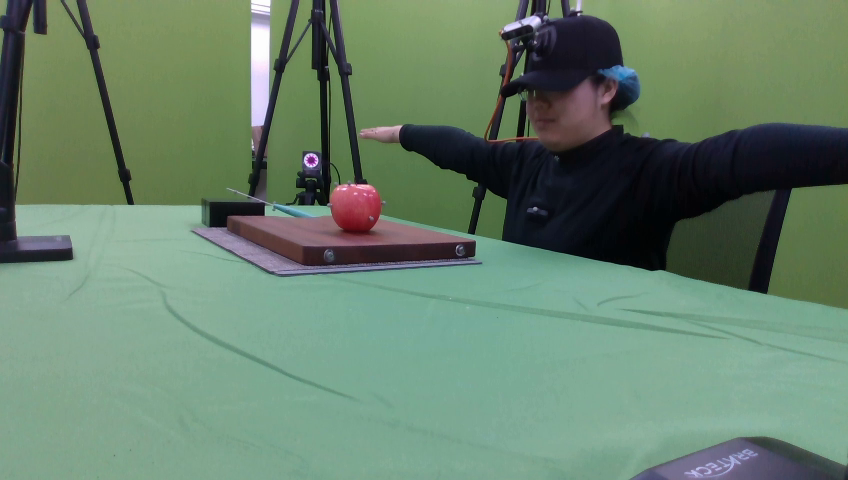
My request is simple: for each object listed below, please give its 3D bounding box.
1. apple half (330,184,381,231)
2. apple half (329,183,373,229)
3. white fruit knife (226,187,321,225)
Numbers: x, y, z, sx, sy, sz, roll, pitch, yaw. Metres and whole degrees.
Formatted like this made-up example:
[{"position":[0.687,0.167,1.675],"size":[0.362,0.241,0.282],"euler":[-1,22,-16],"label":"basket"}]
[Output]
[{"position":[-0.100,-0.049,0.939],"size":[0.081,0.074,0.053],"euler":[1,11,-36],"label":"apple half"},{"position":[-0.123,-0.056,0.970],"size":[0.082,0.081,0.032],"euler":[-3,13,-36],"label":"apple half"},{"position":[-0.298,-0.068,1.213],"size":[0.208,0.016,0.027],"euler":[20,-3,-31],"label":"white fruit knife"}]
